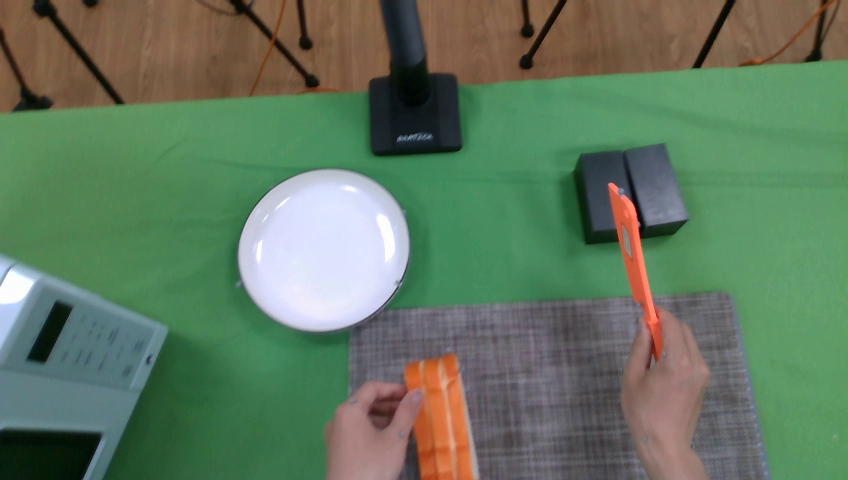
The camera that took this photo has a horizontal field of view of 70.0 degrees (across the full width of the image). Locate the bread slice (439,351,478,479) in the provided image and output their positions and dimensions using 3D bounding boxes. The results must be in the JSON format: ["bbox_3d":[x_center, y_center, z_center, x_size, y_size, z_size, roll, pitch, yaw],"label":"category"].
[{"bbox_3d":[0.037,0.184,0.632,0.018,0.107,0.133,-11,73,1],"label":"bread slice"}]

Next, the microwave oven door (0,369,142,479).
[{"bbox_3d":[-0.397,0.289,0.534,0.039,0.245,0.354,16,74,9],"label":"microwave oven door"}]

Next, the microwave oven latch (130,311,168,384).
[{"bbox_3d":[-0.321,0.122,0.690,0.030,0.029,0.079,18,75,8],"label":"microwave oven latch"}]

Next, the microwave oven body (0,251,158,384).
[{"bbox_3d":[-0.523,0.211,0.570,0.325,0.261,0.440,17,74,7],"label":"microwave oven body"}]

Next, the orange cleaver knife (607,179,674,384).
[{"bbox_3d":[0.217,0.041,0.614,0.012,0.077,0.212,-16,101,4],"label":"orange cleaver knife"}]

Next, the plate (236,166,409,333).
[{"bbox_3d":[-0.119,0.012,0.735,0.207,0.039,0.206,-1,72,2],"label":"plate"}]
